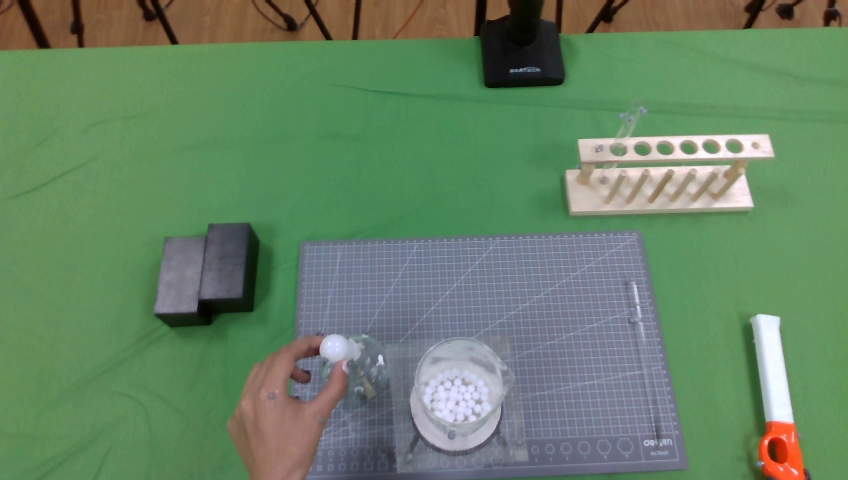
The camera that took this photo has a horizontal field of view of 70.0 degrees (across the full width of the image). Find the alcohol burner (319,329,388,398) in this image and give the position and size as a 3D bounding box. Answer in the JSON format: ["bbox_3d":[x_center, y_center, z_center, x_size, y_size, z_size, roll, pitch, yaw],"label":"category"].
[{"bbox_3d":[-0.080,0.132,0.672,0.078,0.120,0.077,0,63,0],"label":"alcohol burner"}]

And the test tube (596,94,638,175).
[{"bbox_3d":[0.238,-0.127,0.755,0.017,0.151,0.017,0,62,1],"label":"test tube"}]

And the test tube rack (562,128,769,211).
[{"bbox_3d":[0.312,-0.091,0.793,0.242,0.086,0.066,-2,65,-1],"label":"test tube rack"}]

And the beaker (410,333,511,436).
[{"bbox_3d":[0.031,0.131,0.536,0.084,0.101,0.073,-7,65,-3],"label":"beaker"}]

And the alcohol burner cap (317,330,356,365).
[{"bbox_3d":[-0.088,0.105,0.598,0.034,0.048,0.033,-2,73,7],"label":"alcohol burner cap"}]

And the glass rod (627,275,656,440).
[{"bbox_3d":[0.262,0.137,0.729,0.008,0.008,0.198,-1,68,-1],"label":"glass rod"}]

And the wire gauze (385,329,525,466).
[{"bbox_3d":[0.027,0.148,0.582,0.125,0.011,0.120,-6,64,0],"label":"wire gauze"}]

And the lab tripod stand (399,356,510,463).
[{"bbox_3d":[0.028,0.179,0.640,0.148,0.132,0.147,-1,64,2],"label":"lab tripod stand"}]

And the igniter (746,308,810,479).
[{"bbox_3d":[0.401,0.211,0.689,0.057,0.025,0.274,9,66,-7],"label":"igniter"}]
